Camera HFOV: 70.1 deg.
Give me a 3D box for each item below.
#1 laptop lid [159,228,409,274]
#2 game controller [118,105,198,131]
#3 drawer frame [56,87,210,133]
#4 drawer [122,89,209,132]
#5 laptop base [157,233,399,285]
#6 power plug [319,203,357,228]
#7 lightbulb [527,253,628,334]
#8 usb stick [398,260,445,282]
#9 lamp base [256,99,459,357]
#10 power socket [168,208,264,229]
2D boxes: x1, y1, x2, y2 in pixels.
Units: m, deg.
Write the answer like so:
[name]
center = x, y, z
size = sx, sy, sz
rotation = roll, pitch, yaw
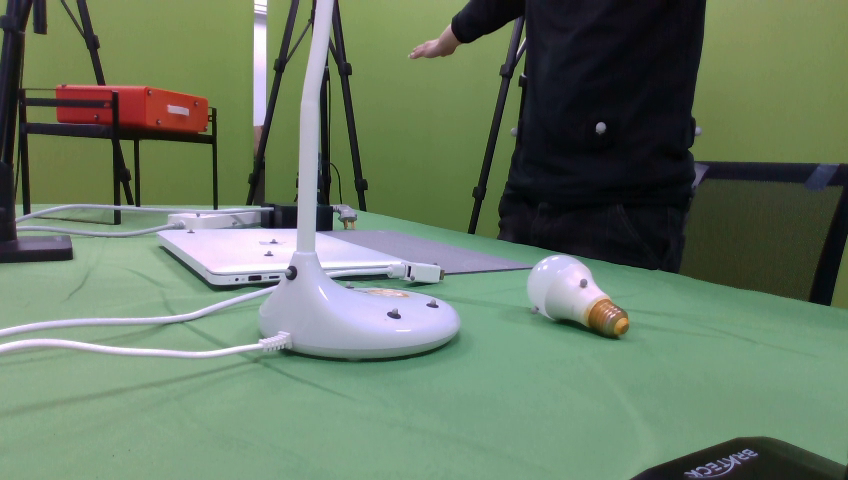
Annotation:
[laptop lid]
center = -0.201, 0.007, 0.806
size = 0.243, 0.013, 0.355
rotation = -1, 8, -31
[game controller]
center = -0.554, -0.253, 1.254
size = 0.097, 0.051, 0.155
rotation = 6, 11, 19
[drawer frame]
center = -0.598, -0.269, 1.261
size = 0.213, 0.082, 0.202
rotation = 4, 8, 14
[drawer]
center = -0.595, -0.268, 1.263
size = 0.211, 0.073, 0.195
rotation = 4, 8, 15
[laptop base]
center = -0.204, 0.019, 0.806
size = 0.237, 0.023, 0.352
rotation = 0, 7, -33
[power plug]
center = -0.170, -0.046, 1.209
size = 0.073, 0.052, 0.035
rotation = -6, -18, -9
[lightbulb]
center = 0.137, 0.050, 0.534
size = 0.060, 0.059, 0.107
rotation = -3, 24, -33
[usb stick]
center = -0.001, 0.036, 0.696
size = 0.027, 0.021, 0.059
rotation = 6, -1, 43
[lamp base]
center = -0.055, -0.013, 0.463
size = 0.160, 0.180, 0.180
rotation = 6, 11, 27
[power socket]
center = -0.381, -0.038, 1.128
size = 0.072, 0.032, 0.227
rotation = 4, 8, 16
